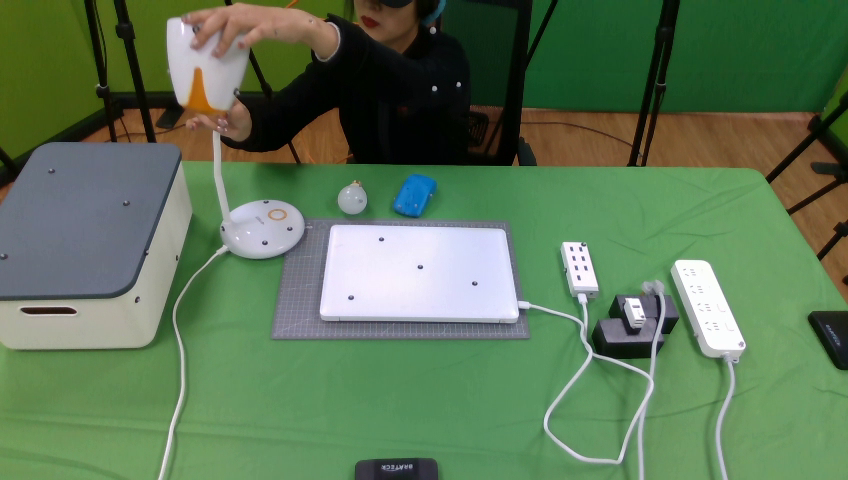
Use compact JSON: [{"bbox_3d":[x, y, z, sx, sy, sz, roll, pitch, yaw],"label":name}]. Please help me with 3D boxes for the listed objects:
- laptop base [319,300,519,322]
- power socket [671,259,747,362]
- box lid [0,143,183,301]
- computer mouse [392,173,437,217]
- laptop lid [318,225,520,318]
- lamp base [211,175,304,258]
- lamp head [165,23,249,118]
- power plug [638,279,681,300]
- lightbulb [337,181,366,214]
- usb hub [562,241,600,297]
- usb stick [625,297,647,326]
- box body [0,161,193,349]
[{"bbox_3d":[-0.009,0.062,1.138,0.354,0.023,0.234,1,42,-3],"label":"laptop base"},{"bbox_3d":[0.517,0.119,1.108,0.072,0.033,0.225,1,46,-2],"label":"power socket"},{"bbox_3d":[-0.567,-0.045,0.999,0.263,0.015,0.369,-1,45,-4],"label":"box lid"},{"bbox_3d":[-0.018,-0.099,1.282,0.062,0.041,0.117,20,51,12],"label":"computer mouse"},{"bbox_3d":[-0.009,0.052,1.131,0.357,0.013,0.240,2,44,-2],"label":"laptop lid"},{"bbox_3d":[-0.324,-0.071,1.132,0.160,0.181,0.179,32,55,26],"label":"lamp base"},{"bbox_3d":[-0.307,-0.236,0.857,0.112,0.123,0.112,6,14,-1],"label":"lamp head"},{"bbox_3d":[0.434,0.099,1.119,0.073,0.053,0.035,34,37,-15],"label":"power plug"},{"bbox_3d":[-0.147,-0.094,1.261,0.059,0.060,0.107,4,30,0],"label":"lightbulb"},{"bbox_3d":[0.300,0.055,1.162,0.049,0.025,0.124,3,46,-3],"label":"usb hub"},{"bbox_3d":[0.360,0.116,1.034,0.021,0.027,0.059,-2,44,-2],"label":"usb stick"},{"bbox_3d":[-0.570,0.006,1.054,0.254,0.161,0.361,-1,46,-4],"label":"box body"}]
